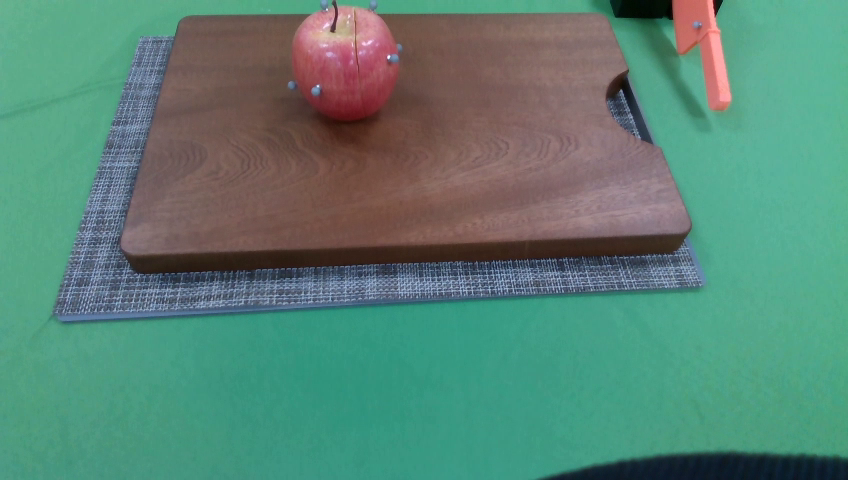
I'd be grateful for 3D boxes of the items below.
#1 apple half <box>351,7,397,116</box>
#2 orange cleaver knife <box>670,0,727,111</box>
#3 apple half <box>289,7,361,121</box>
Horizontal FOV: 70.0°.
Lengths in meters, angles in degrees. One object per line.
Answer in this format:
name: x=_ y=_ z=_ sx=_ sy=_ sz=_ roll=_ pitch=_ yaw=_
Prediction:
apple half: x=-0.037 y=-0.137 z=0.470 sx=0.033 sy=0.082 sz=0.080 roll=-5 pitch=55 yaw=-2
orange cleaver knife: x=0.254 y=-0.212 z=0.571 sx=0.012 sy=0.077 sz=0.210 roll=1 pitch=77 yaw=-6
apple half: x=-0.076 y=-0.134 z=0.467 sx=0.053 sy=0.075 sz=0.080 roll=-5 pitch=59 yaw=-2
